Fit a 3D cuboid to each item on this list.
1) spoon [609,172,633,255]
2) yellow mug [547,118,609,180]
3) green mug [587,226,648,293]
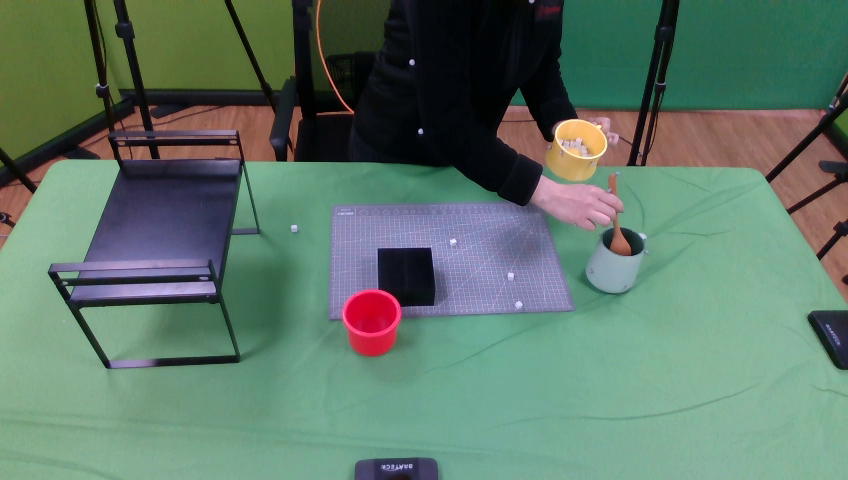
[{"bbox_3d":[0.339,-0.036,1.062,0.041,0.195,0.021,-12,32,12],"label":"spoon"},{"bbox_3d":[0.300,-0.181,1.152,0.099,0.064,0.131,42,60,19],"label":"yellow mug"},{"bbox_3d":[0.372,0.030,1.136,0.125,0.105,0.092,-27,53,-26],"label":"green mug"}]
